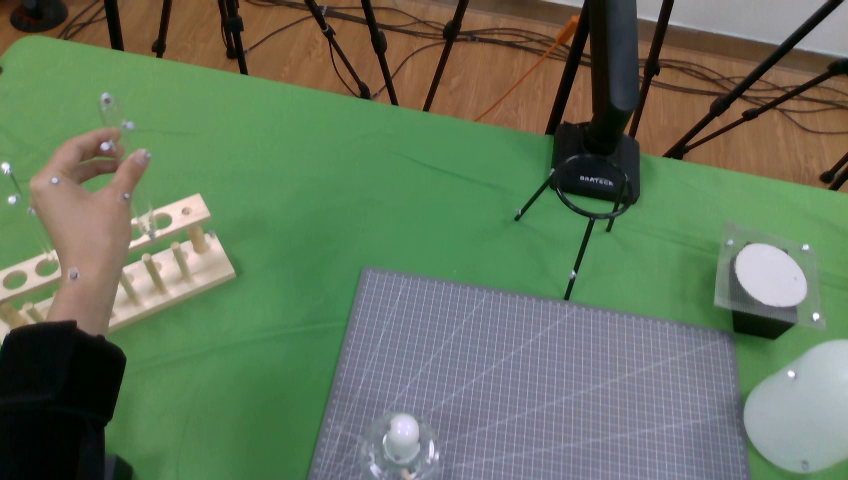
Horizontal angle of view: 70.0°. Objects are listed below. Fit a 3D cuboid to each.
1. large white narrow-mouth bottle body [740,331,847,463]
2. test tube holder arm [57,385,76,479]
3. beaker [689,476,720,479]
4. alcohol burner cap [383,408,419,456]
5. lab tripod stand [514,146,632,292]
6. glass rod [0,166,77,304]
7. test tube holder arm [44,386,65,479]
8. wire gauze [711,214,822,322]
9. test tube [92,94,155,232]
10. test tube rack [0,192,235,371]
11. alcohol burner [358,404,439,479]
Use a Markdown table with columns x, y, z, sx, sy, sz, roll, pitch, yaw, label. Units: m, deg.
| x | y | z | sx | sy | sz | roll | pitch | yaw | label |
| --- | --- | --- | --- | --- | --- | --- | --- | --- | --- |
| 0.400 | 0.146 | 0.590 | 0.102 | 0.196 | 0.101 | 2 | 57 | -3 | large white narrow-mouth bottle body |
| -0.318 | 0.213 | 0.527 | 0.013 | 0.015 | 0.176 | -3 | 58 | -18 | test tube holder arm |
| 0.237 | 0.264 | 0.553 | 0.084 | 0.101 | 0.073 | 7 | 57 | 0 | beaker |
| -0.020 | 0.168 | 0.538 | 0.034 | 0.048 | 0.033 | 2 | 51 | -3 | alcohol burner cap |
| 0.182 | -0.031 | 0.718 | 0.148 | 0.132 | 0.147 | 3 | 59 | -5 | lab tripod stand |
| -0.372 | 0.004 | 0.592 | 0.008 | 0.201 | 0.008 | 5 | 48 | -5 | glass rod |
| -0.333 | 0.176 | 0.547 | 0.010 | 0.015 | 0.087 | -3 | 58 | -18 | test tube holder arm |
| 0.403 | 0.032 | 0.716 | 0.121 | 0.011 | 0.124 | 17 | 57 | 5 | wire gauze |
| -0.252 | -0.059 | 0.514 | 0.017 | 0.151 | 0.017 | 5 | 50 | -5 | test tube |
| -0.339 | 0.041 | 0.650 | 0.242 | 0.086 | 0.066 | -26 | 63 | -20 | test tube rack |
| -0.022 | 0.187 | 0.568 | 0.078 | 0.120 | 0.077 | 4 | 56 | -5 | alcohol burner |
